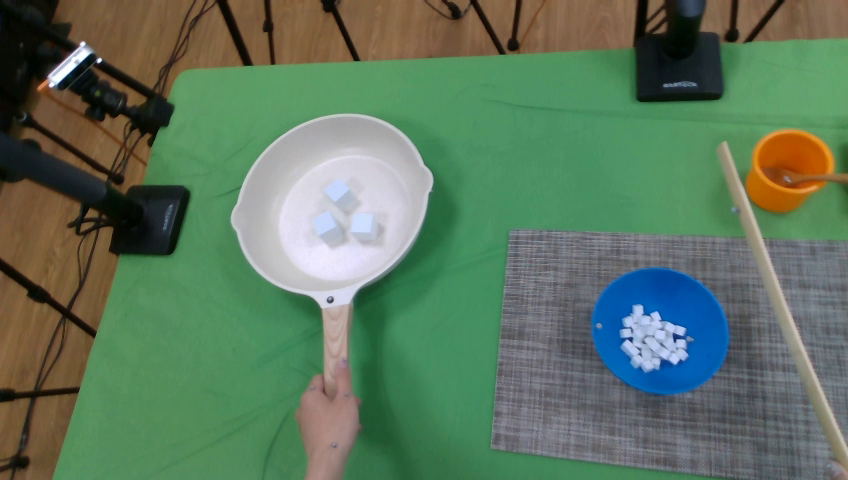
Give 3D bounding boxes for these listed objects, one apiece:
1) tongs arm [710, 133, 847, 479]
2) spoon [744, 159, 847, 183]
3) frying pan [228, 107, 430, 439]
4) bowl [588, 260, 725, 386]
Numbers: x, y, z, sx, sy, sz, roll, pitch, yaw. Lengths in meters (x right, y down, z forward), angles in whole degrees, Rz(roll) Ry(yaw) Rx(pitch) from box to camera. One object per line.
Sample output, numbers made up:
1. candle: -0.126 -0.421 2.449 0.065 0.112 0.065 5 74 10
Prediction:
1. tongs arm: 0.353 0.073 0.578 0.028 0.028 0.385 -17 77 2
2. spoon: 0.475 -0.083 0.732 0.041 0.192 0.022 -46 109 -10
3. frying pan: -0.128 0.031 0.847 0.306 0.104 0.483 -10 59 10
4. bowl: 0.276 0.107 0.737 0.151 0.077 0.150 -4 68 11
